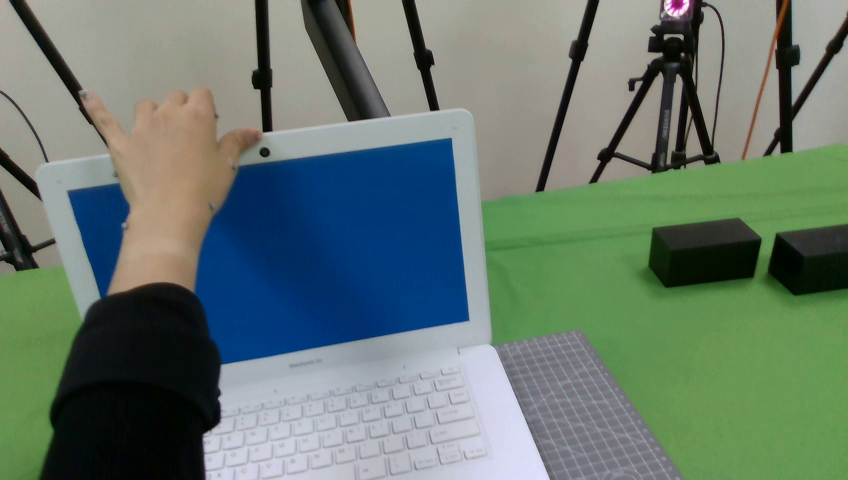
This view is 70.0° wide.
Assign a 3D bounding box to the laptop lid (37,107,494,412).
[{"bbox_3d":[-0.118,0.023,0.530,0.357,0.243,0.013,-10,20,-6],"label":"laptop lid"}]

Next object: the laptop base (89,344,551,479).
[{"bbox_3d":[-0.085,0.190,0.468,0.355,0.023,0.233,-9,34,-7],"label":"laptop base"}]
